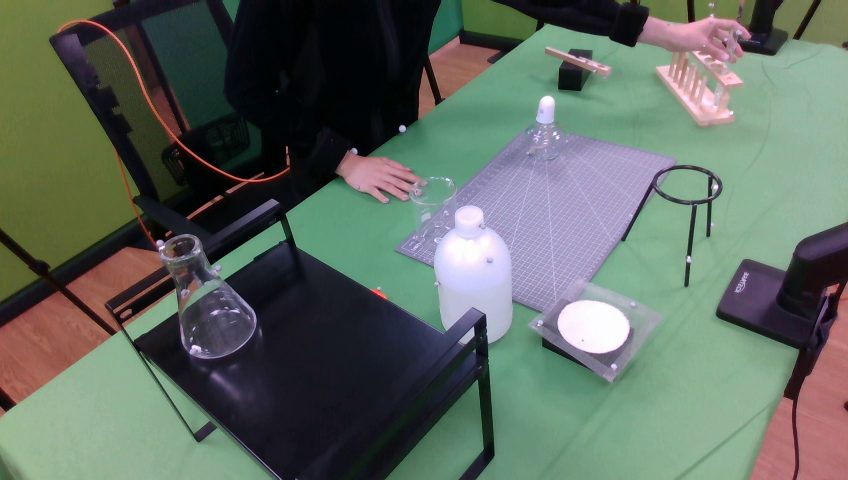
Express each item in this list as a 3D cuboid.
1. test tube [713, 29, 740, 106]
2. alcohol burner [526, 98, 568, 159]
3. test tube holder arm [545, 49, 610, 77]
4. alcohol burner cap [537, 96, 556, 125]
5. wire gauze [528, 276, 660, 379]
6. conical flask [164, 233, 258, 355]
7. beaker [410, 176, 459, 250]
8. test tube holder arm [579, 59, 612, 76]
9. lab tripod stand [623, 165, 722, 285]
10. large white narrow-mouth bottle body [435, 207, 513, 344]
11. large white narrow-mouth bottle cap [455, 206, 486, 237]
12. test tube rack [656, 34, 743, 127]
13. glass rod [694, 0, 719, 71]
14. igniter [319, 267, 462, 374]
[{"bbox_3d":[0.572,-0.324,1.146,0.017,0.151,0.017,-3,38,3],"label":"test tube"},{"bbox_3d":[0.228,-0.210,1.118,0.078,0.119,0.077,-5,43,5],"label":"alcohol burner"},{"bbox_3d":[0.330,-0.386,1.314,0.013,0.015,0.177,-25,43,-31],"label":"test tube holder arm"},{"bbox_3d":[0.223,-0.237,1.095,0.034,0.048,0.033,0,43,1],"label":"alcohol burner cap"},{"bbox_3d":[0.214,0.103,0.763,0.124,0.011,0.122,30,53,35],"label":"wire gauze"},{"bbox_3d":[-0.217,0.051,0.601,0.075,0.122,0.075,-4,40,4],"label":"conical flask"},{"bbox_3d":[0.022,-0.041,0.963,0.073,0.101,0.084,28,51,35],"label":"beaker"},{"bbox_3d":[0.363,-0.368,1.289,0.010,0.015,0.087,-25,43,-31],"label":"test tube holder arm"},{"bbox_3d":[0.365,-0.030,0.875,0.148,0.132,0.147,-6,41,6],"label":"lab tripod stand"},{"bbox_3d":[0.065,0.041,0.791,0.102,0.195,0.101,-4,41,4],"label":"large white narrow-mouth bottle body"},{"bbox_3d":[0.057,-0.023,0.734,0.038,0.024,0.037,-4,40,4],"label":"large white narrow-mouth bottle cap"},{"bbox_3d":[0.553,-0.330,1.233,0.067,0.085,0.241,-7,40,2],"label":"test tube rack"},{"bbox_3d":[0.561,-0.401,1.214,0.008,0.200,0.008,-1,49,2],"label":"glass rod"},{"bbox_3d":[-0.059,0.107,0.862,0.274,0.025,0.057,28,62,34],"label":"igniter"}]
